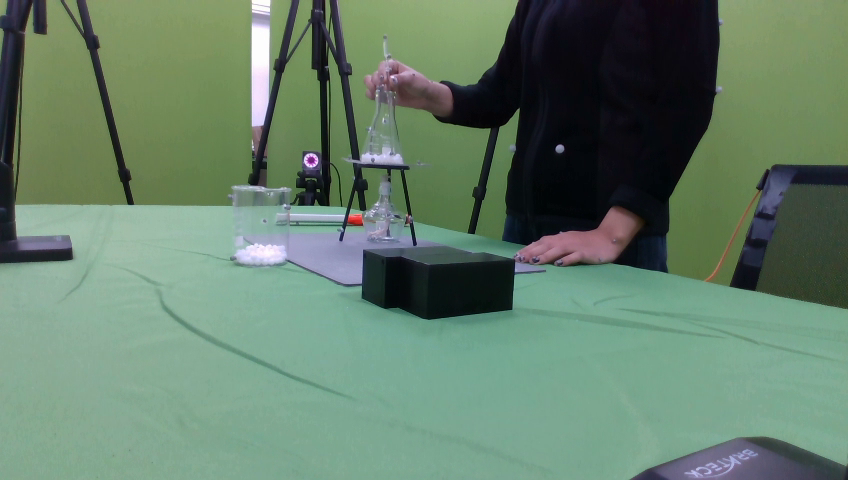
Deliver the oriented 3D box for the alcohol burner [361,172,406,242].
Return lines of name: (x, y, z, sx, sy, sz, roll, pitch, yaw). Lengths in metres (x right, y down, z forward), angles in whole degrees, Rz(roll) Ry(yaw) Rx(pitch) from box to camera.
alcohol burner: (-0.067, -0.056, 1.030, 0.078, 0.119, 0.078, 4, 9, 0)

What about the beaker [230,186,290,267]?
beaker: (-0.209, -0.019, 0.778, 0.074, 0.100, 0.084, 3, 6, 4)

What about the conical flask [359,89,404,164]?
conical flask: (-0.067, -0.188, 1.011, 0.075, 0.122, 0.075, 4, 6, 0)

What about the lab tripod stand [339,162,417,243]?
lab tripod stand: (-0.067, -0.065, 1.027, 0.148, 0.131, 0.148, 4, 7, 0)

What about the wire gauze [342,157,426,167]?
wire gauze: (-0.065, -0.130, 1.017, 0.122, 0.011, 0.124, 2, 5, -27)

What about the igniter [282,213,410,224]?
igniter: (-0.159, -0.046, 1.287, 0.278, 0.025, 0.057, -1, -3, -21)

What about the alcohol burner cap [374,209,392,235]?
alcohol burner cap: (-0.078, -0.035, 1.148, 0.034, 0.048, 0.034, 2, 7, 0)

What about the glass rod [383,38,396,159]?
glass rod: (-0.056, -0.234, 1.000, 0.008, 0.199, 0.008, -5, 2, 0)
